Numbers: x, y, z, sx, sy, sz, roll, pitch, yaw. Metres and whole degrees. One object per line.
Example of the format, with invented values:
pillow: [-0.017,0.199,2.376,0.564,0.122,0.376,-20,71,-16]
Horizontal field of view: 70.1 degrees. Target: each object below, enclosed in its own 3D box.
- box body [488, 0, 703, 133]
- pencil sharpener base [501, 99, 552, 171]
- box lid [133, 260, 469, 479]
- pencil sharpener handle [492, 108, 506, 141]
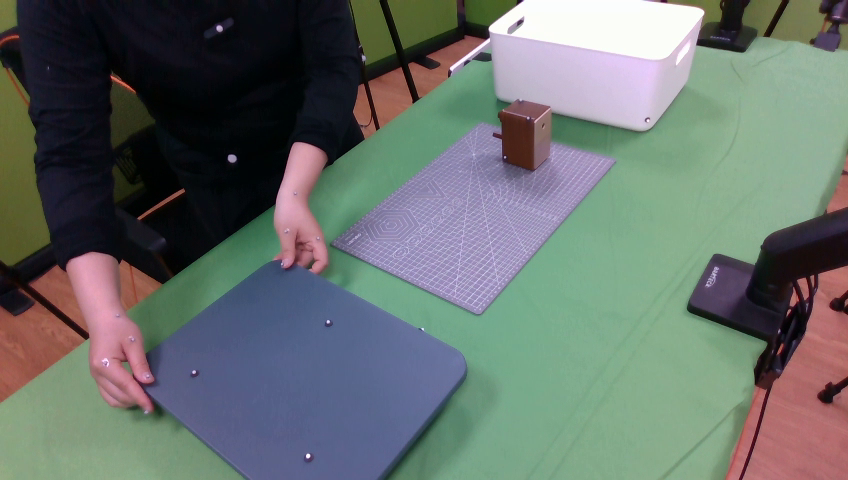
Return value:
box body: [0.346,-0.374,1.251,0.361,0.161,0.255,20,48,29]
pencil sharpener base: [0.184,-0.191,1.097,0.076,0.107,0.061,22,50,32]
box lid: [-0.156,0.160,0.747,0.368,0.015,0.264,23,49,31]
pencil sharpener handle: [0.141,-0.216,1.114,0.030,0.068,0.036,22,42,32]
